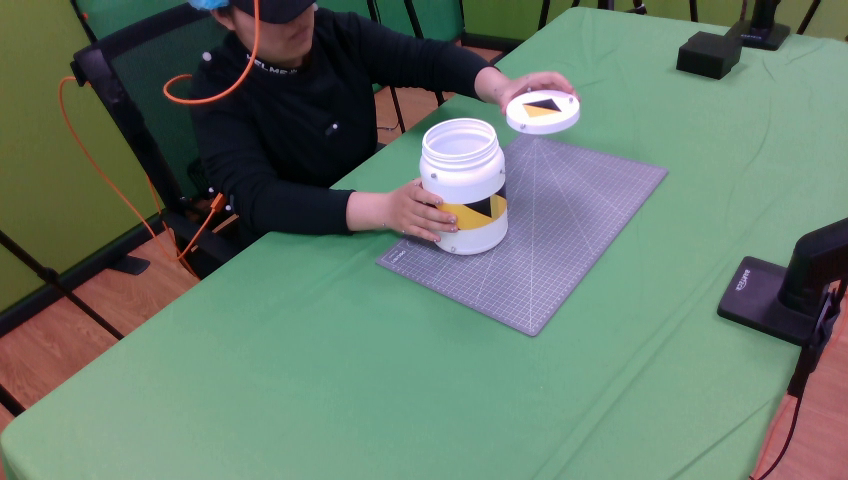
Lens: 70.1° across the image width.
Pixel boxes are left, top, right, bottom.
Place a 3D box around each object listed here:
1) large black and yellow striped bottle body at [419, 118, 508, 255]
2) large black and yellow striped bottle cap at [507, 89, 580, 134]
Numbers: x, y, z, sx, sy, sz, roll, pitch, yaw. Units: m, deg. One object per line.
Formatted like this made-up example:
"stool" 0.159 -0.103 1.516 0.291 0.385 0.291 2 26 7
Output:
"large black and yellow striped bottle body" 0.062 -0.083 0.939 0.131 0.185 0.130 -5 40 5
"large black and yellow striped bottle cap" 0.189 -0.205 0.959 0.115 0.019 0.114 -7 39 6
